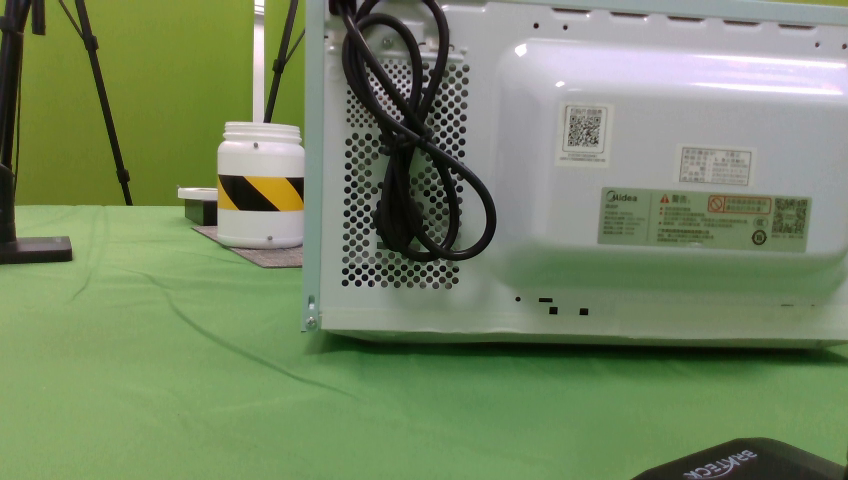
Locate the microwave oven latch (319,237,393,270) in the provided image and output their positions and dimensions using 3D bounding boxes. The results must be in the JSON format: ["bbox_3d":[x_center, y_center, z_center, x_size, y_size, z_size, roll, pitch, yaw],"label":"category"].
[{"bbox_3d":[-0.077,0.015,0.683,0.079,0.029,0.030,6,7,23],"label":"microwave oven latch"}]

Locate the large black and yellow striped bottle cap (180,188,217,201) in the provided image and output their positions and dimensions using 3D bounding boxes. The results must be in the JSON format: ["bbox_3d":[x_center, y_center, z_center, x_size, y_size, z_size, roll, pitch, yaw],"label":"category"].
[{"bbox_3d":[-0.434,-0.093,1.226,0.115,0.019,0.115,3,9,0],"label":"large black and yellow striped bottle cap"}]

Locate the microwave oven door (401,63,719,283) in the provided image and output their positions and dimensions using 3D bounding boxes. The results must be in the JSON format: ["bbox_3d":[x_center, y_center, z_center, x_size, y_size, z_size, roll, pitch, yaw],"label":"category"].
[{"bbox_3d":[0.155,-0.080,0.722,0.356,0.243,0.039,3,8,3],"label":"microwave oven door"}]

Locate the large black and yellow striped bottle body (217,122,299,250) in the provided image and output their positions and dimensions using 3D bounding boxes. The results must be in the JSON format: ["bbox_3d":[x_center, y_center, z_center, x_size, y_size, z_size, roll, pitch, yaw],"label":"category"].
[{"bbox_3d":[-0.249,-0.084,0.930,0.131,0.184,0.130,3,7,0],"label":"large black and yellow striped bottle body"}]

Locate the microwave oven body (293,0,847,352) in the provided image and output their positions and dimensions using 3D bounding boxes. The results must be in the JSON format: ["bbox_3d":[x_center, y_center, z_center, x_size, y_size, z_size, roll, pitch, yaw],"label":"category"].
[{"bbox_3d":[0.122,-0.055,0.550,0.442,0.260,0.325,3,7,-5],"label":"microwave oven body"}]
